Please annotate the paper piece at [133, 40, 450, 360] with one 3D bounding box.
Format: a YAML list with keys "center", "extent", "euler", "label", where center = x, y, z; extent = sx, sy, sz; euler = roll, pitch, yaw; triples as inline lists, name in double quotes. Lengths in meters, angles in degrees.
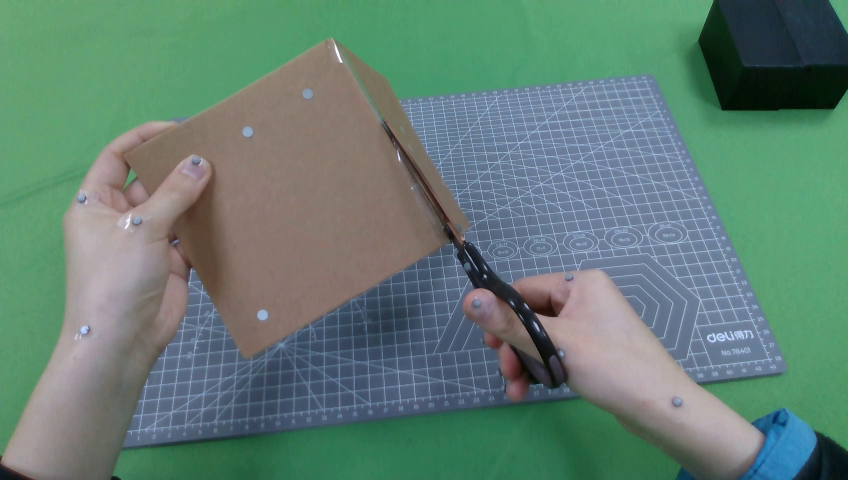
- center: [-0.077, -0.023, 0.343]
  extent: [0.138, 0.009, 0.135]
  euler: [-30, 83, 4]
  label: "paper piece"

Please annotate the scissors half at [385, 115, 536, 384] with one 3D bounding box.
- center: [0.021, 0.006, 0.347]
  extent: [0.013, 0.040, 0.175]
  euler: [-30, 95, -6]
  label: "scissors half"

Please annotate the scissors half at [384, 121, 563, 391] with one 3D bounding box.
- center: [0.023, 0.002, 0.326]
  extent: [0.013, 0.040, 0.174]
  euler: [-29, 73, -11]
  label: "scissors half"

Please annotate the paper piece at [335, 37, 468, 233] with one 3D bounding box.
- center: [-0.006, -0.065, 0.411]
  extent: [0.004, 0.135, 0.135]
  euler: [-31, 91, 10]
  label: "paper piece"
